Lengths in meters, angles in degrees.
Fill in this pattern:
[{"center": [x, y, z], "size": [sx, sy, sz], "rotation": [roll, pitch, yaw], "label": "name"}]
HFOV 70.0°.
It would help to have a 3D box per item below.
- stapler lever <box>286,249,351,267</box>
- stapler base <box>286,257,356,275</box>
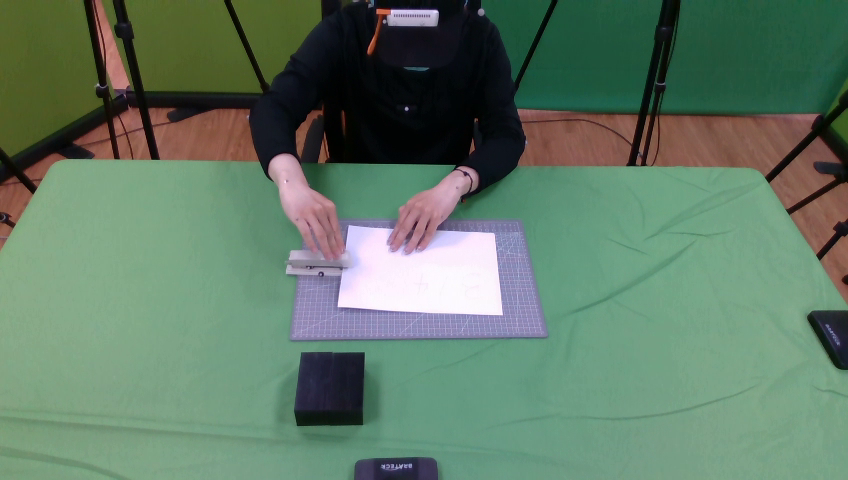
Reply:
[{"center": [-0.193, 0.033, 1.122], "size": [0.118, 0.040, 0.026], "rotation": [7, 47, -8], "label": "stapler lever"}, {"center": [-0.193, 0.042, 1.133], "size": [0.130, 0.024, 0.041], "rotation": [0, 47, 0], "label": "stapler base"}]
